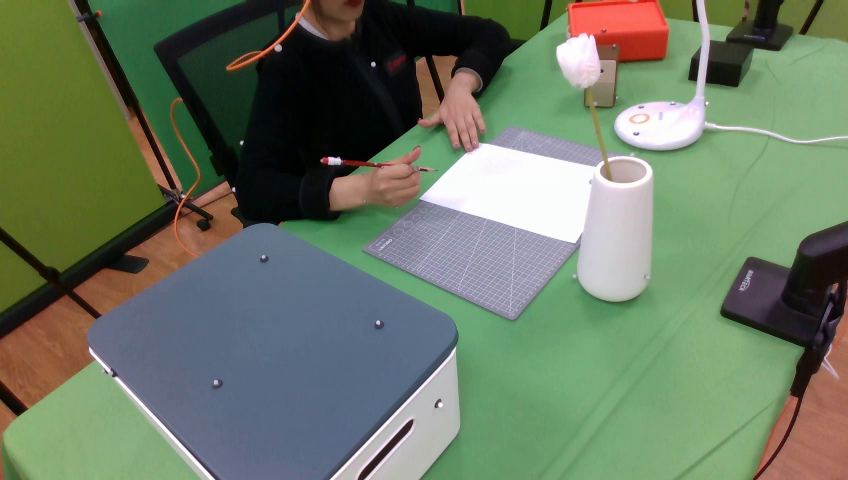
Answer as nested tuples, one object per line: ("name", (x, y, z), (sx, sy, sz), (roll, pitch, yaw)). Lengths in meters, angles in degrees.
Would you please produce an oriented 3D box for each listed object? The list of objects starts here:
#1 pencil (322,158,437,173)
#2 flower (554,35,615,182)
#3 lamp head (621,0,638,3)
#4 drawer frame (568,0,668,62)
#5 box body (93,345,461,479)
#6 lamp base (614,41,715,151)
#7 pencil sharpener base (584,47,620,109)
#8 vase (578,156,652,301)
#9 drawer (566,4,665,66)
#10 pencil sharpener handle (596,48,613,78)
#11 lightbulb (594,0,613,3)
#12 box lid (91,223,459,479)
("pencil", (-0.070, -0.121, 0.990), (0.195, 0.012, 0.012), (3, 37, -18))
("flower", (0.237, -0.083, 0.774), (0.044, 0.363, 0.038), (-22, 26, 7))
("lamp head", (0.319, -0.453, 0.962), (0.113, 0.123, 0.112), (20, 33, -13))
("drawer frame", (0.450, -0.496, 1.441), (0.213, 0.083, 0.201), (-1, 40, 9))
("box body", (-0.162, 0.170, 0.708), (0.361, 0.161, 0.255), (25, 50, 34))
("lamp base", (0.449, -0.277, 1.106), (0.179, 0.181, 0.160), (1, 41, 9))
("pencil sharpener base", (0.367, -0.336, 1.248), (0.061, 0.107, 0.076), (6, 42, 19))
("vase", (0.261, -0.011, 0.812), (0.098, 0.201, 0.097), (-4, 40, 4))
("drawer", (0.447, -0.493, 1.440), (0.211, 0.073, 0.194), (0, 40, 10))
("pencil sharpener handle", (0.382, -0.378, 1.276), (0.036, 0.068, 0.030), (3, 41, 21))
("lightbulb", (0.305, -0.438, 0.978), (0.060, 0.107, 0.059), (13, 43, -11))
("box lid", (-0.174, 0.103, 0.667), (0.368, 0.015, 0.264), (24, 49, 35))
